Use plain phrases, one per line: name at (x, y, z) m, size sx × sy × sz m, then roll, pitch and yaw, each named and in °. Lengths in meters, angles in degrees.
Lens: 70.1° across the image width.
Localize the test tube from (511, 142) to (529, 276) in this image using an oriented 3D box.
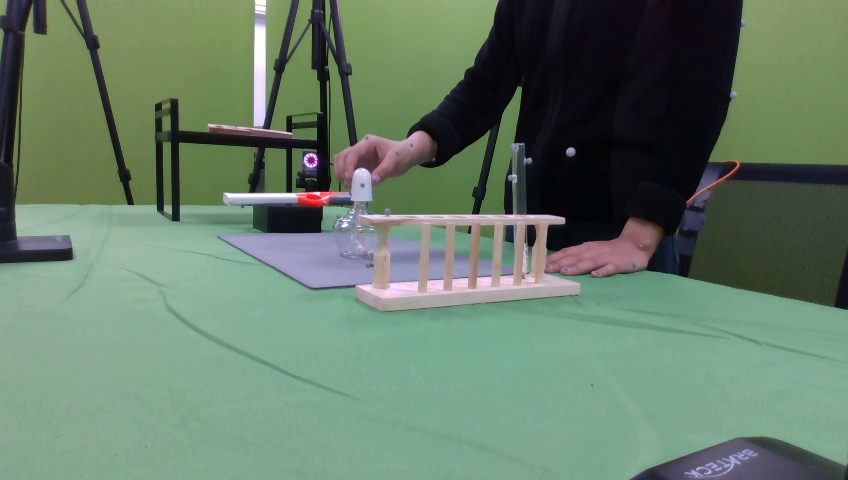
test tube at (0.108, -0.033, 0.678) m, size 0.017 × 0.150 × 0.017 m, roll -3°, pitch 7°, yaw 1°

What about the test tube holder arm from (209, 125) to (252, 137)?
test tube holder arm at (-0.419, -0.236, 1.308) m, size 0.088 × 0.015 × 0.010 m, roll 1°, pitch 41°, yaw -28°

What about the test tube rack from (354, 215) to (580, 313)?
test tube rack at (0.053, 0.019, 0.635) m, size 0.243 × 0.085 × 0.066 m, roll -1°, pitch 8°, yaw -29°

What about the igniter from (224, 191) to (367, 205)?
igniter at (-0.237, -0.079, 1.157) m, size 0.278 × 0.025 × 0.057 m, roll -2°, pitch 21°, yaw -31°

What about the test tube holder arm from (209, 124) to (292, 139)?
test tube holder arm at (-0.381, -0.239, 1.334) m, size 0.179 × 0.015 × 0.013 m, roll 0°, pitch 41°, yaw -29°

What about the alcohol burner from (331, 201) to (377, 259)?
alcohol burner at (-0.091, -0.033, 0.855) m, size 0.078 × 0.119 × 0.078 m, roll 4°, pitch 7°, yaw 0°

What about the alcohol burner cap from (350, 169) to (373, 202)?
alcohol burner cap at (-0.089, -0.076, 0.849) m, size 0.034 × 0.048 × 0.034 m, roll -3°, pitch 8°, yaw 1°
